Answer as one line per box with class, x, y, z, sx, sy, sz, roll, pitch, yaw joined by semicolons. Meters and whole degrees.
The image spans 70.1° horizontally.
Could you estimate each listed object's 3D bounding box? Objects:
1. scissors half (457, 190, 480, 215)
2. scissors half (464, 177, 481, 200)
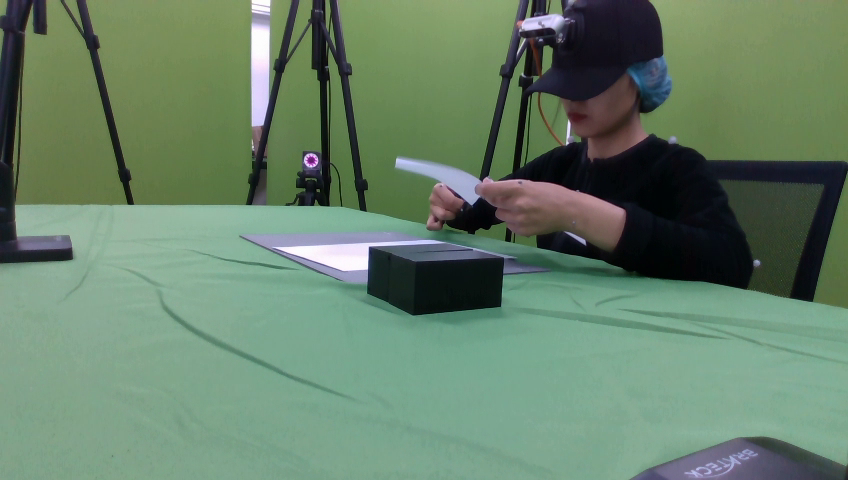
scissors half;0.079;-0.069;1.057;0.013;0.040;0.175;27;-9;-3
scissors half;0.088;-0.088;1.057;0.013;0.040;0.175;22;8;-4
